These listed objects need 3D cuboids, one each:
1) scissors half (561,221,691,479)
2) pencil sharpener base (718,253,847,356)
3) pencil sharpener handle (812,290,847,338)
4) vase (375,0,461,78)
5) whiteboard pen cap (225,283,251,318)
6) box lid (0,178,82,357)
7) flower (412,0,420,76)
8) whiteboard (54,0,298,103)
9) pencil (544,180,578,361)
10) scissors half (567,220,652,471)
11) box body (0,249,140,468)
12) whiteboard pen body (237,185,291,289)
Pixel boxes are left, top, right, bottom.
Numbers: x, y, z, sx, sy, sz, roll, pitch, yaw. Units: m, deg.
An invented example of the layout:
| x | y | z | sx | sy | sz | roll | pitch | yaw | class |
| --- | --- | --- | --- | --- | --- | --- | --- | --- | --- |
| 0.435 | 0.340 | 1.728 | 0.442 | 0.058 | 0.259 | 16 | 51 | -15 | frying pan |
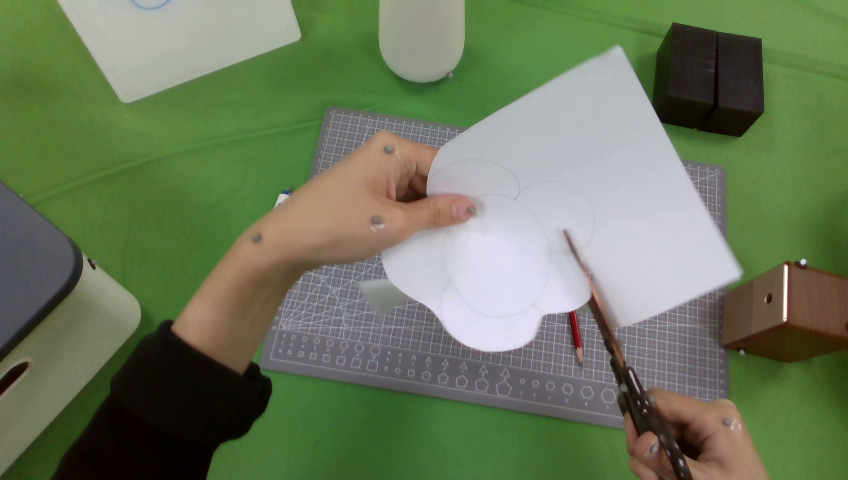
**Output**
| x | y | z | sx | sy | sz | roll | pitch | yaw | class |
| --- | --- | --- | --- | --- | --- | --- | --- | --- | --- |
| 0.114 | 0.069 | 0.344 | 0.013 | 0.040 | 0.175 | -23 | 86 | -3 | scissors half |
| 0.336 | 0.064 | 0.562 | 0.077 | 0.107 | 0.061 | 13 | 69 | 0 | pencil sharpener base |
| 0.386 | 0.072 | 0.550 | 0.030 | 0.068 | 0.035 | 13 | 63 | 0 | pencil sharpener handle |
| -0.007 | -0.260 | 0.624 | 0.098 | 0.201 | 0.097 | 0 | 68 | 0 | vase |
| -0.181 | 0.059 | 0.594 | 0.018 | 0.018 | 0.033 | 15 | 65 | 4 | whiteboard pen cap |
| -0.472 | 0.006 | 0.450 | 0.370 | 0.015 | 0.262 | 35 | 72 | 10 | box lid |
| -0.011 | -0.303 | 0.551 | 0.044 | 0.365 | 0.038 | 2 | 52 | 3 | flower |
| -0.292 | -0.338 | 0.620 | 0.217 | 0.308 | 0.142 | -24 | 52 | -10 | whiteboard |
| 0.141 | 0.028 | 0.621 | 0.012 | 0.012 | 0.192 | -4 | 72 | -3 | pencil |
| 0.113 | 0.066 | 0.365 | 0.013 | 0.039 | 0.176 | -22 | 110 | 2 | scissors half |
| -0.472 | 0.034 | 0.520 | 0.362 | 0.161 | 0.253 | 35 | 73 | 10 | box body |
| -0.166 | 0.006 | 0.616 | 0.017 | 0.017 | 0.140 | 15 | 68 | 5 | whiteboard pen body |
